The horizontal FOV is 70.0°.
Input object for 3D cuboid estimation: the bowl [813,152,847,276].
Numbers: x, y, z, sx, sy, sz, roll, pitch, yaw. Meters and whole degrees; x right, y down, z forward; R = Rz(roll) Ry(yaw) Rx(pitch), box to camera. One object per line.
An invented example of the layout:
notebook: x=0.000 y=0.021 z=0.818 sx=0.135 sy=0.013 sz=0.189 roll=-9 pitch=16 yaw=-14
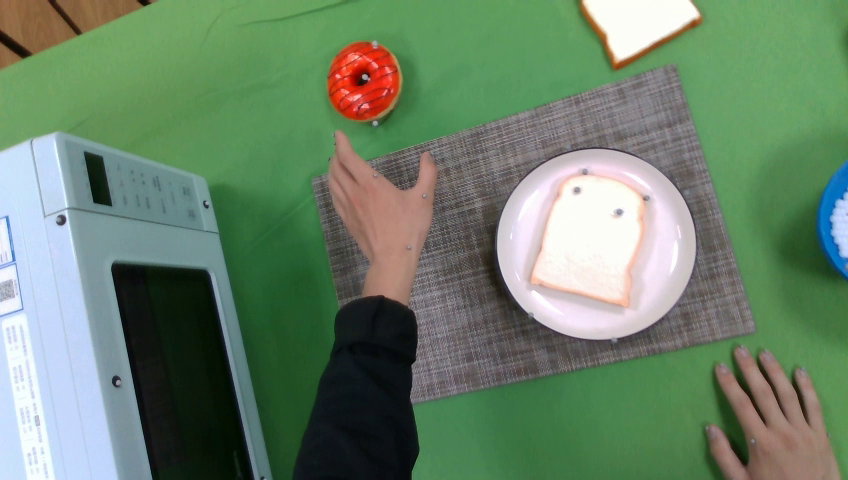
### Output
bowl: x=0.446 y=-0.022 z=0.579 sx=0.151 sy=0.077 sz=0.151 roll=-1 pitch=86 yaw=14

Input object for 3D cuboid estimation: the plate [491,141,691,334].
plate: x=0.179 y=-0.002 z=0.663 sx=0.207 sy=0.039 sz=0.207 roll=-1 pitch=86 yaw=14

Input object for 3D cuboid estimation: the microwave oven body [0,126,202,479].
microwave oven body: x=-0.409 y=0.153 z=0.686 sx=0.325 sy=0.261 sz=0.440 roll=-17 pitch=83 yaw=12

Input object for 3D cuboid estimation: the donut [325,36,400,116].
donut: x=-0.076 y=-0.201 z=0.741 sx=0.099 sy=0.048 sz=0.099 roll=-1 pitch=86 yaw=17

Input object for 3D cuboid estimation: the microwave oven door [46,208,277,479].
microwave oven door: x=-0.262 y=0.150 z=0.645 sx=0.039 sy=0.245 sz=0.354 roll=-17 pitch=82 yaw=13

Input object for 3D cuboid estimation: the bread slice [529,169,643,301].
bread slice: x=0.179 y=-0.009 z=0.663 sx=0.106 sy=0.018 sz=0.134 roll=11 pitch=88 yaw=14

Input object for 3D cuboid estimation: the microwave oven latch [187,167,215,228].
microwave oven latch: x=-0.292 y=-0.051 z=0.770 sx=0.030 sy=0.029 sz=0.079 roll=-17 pitch=83 yaw=12

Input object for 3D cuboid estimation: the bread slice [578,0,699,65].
bread slice: x=0.228 y=-0.278 z=0.683 sx=0.105 sy=0.019 sz=0.131 roll=-29 pitch=81 yaw=10
